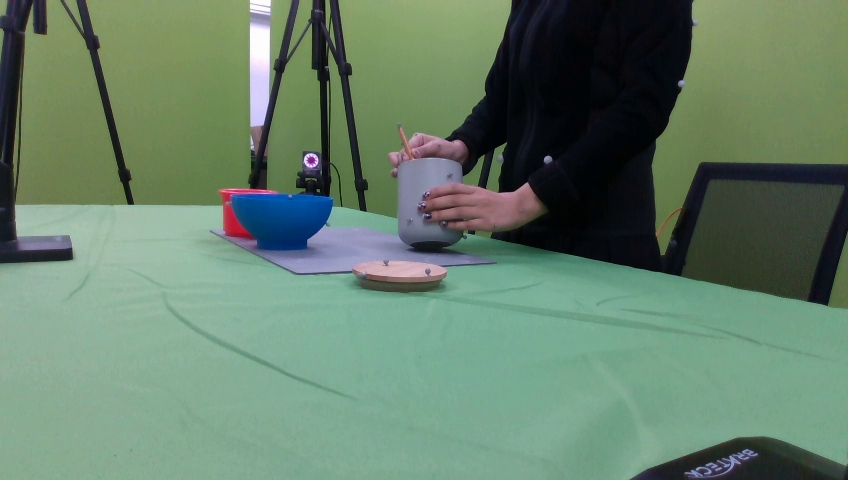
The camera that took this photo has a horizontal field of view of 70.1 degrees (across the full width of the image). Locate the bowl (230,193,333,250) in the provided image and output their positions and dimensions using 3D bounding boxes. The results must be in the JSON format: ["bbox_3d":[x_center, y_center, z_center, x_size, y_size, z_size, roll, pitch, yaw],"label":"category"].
[{"bbox_3d":[-0.214,-0.028,0.912,0.151,0.077,0.151,2,8,0],"label":"bowl"}]

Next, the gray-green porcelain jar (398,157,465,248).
[{"bbox_3d":[0.011,-0.055,0.952,0.106,0.126,0.106,-1,-10,0],"label":"gray-green porcelain jar"}]

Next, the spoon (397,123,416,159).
[{"bbox_3d":[-0.012,-0.104,0.992,0.021,0.193,0.042,-17,-11,11],"label":"spoon"}]

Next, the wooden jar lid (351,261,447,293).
[{"bbox_3d":[-0.028,0.042,0.687,0.108,0.020,0.108,3,8,0],"label":"wooden jar lid"}]
